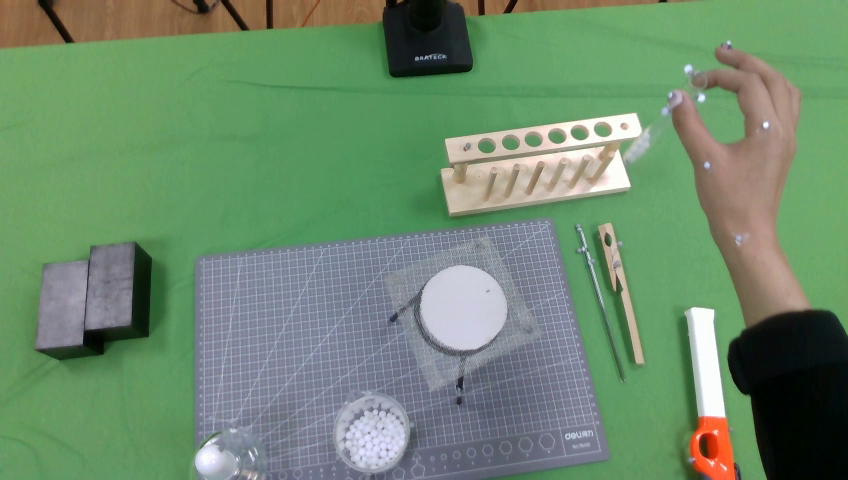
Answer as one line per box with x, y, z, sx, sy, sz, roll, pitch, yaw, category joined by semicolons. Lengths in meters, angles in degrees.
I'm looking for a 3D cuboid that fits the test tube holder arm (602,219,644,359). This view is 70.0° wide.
0.243;0.057;0.745;0.013;0.015;0.177;-20;66;26;test tube holder arm

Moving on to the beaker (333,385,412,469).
-0.054;0.196;0.628;0.074;0.101;0.083;-27;71;-13;beaker

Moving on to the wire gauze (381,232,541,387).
0.035;0.063;0.596;0.121;0.011;0.124;-22;71;-10;wire gauze

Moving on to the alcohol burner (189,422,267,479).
-0.199;0.219;0.603;0.078;0.120;0.077;1;65;-1;alcohol burner

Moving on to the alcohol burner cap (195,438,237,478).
-0.199;0.203;0.571;0.034;0.048;0.033;2;58;-2;alcohol burner cap

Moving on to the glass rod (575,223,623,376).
0.213;0.069;0.746;0.008;0.008;0.198;-8;68;-6;glass rod

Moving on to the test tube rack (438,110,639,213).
0.144;-0.098;0.769;0.243;0.086;0.066;-9;68;-6;test tube rack

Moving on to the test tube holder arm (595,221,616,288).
0.232;0.018;0.763;0.010;0.015;0.087;-20;66;26;test tube holder arm

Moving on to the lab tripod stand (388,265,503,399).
0.027;0.091;0.657;0.148;0.132;0.147;0;69;-1;lab tripod stand

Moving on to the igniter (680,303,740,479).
0.322;0.206;0.686;0.057;0.025;0.274;8;67;-10;igniter

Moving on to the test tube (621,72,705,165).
0.202;-0.100;0.527;0.017;0.151;0.017;1;74;-2;test tube
